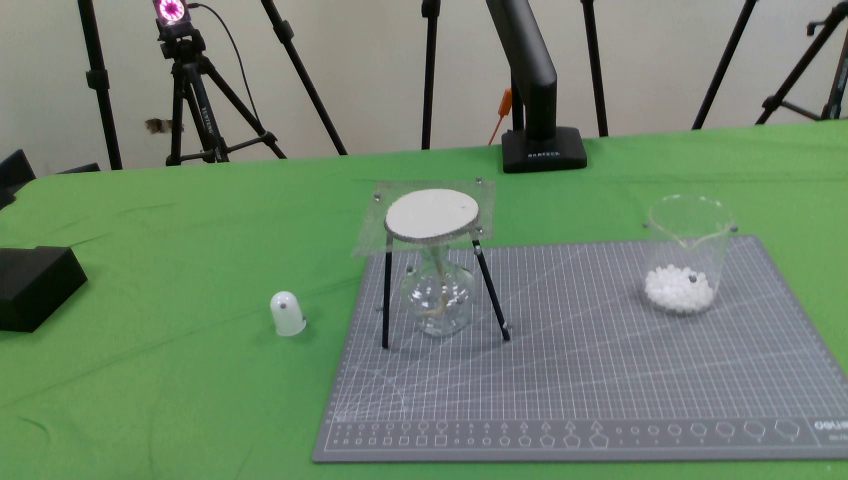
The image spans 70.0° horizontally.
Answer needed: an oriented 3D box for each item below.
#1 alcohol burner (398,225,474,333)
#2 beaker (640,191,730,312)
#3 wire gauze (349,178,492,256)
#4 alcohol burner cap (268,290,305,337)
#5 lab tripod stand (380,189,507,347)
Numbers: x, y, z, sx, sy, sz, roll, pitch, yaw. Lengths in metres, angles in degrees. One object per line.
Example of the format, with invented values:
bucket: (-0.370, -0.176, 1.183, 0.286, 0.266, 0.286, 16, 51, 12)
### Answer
alcohol burner: (0.010, 0.034, 0.598, 0.078, 0.120, 0.077, -4, 36, 3)
beaker: (0.250, 0.015, 0.590, 0.073, 0.101, 0.083, 5, 38, 20)
wire gauze: (0.001, -0.027, 0.551, 0.121, 0.011, 0.124, -3, 33, 9)
alcohol burner cap: (-0.147, 0.075, 0.640, 0.034, 0.048, 0.033, -5, 36, 4)
lab tripod stand: (0.011, 0.025, 0.593, 0.148, 0.132, 0.147, -7, 33, 5)
